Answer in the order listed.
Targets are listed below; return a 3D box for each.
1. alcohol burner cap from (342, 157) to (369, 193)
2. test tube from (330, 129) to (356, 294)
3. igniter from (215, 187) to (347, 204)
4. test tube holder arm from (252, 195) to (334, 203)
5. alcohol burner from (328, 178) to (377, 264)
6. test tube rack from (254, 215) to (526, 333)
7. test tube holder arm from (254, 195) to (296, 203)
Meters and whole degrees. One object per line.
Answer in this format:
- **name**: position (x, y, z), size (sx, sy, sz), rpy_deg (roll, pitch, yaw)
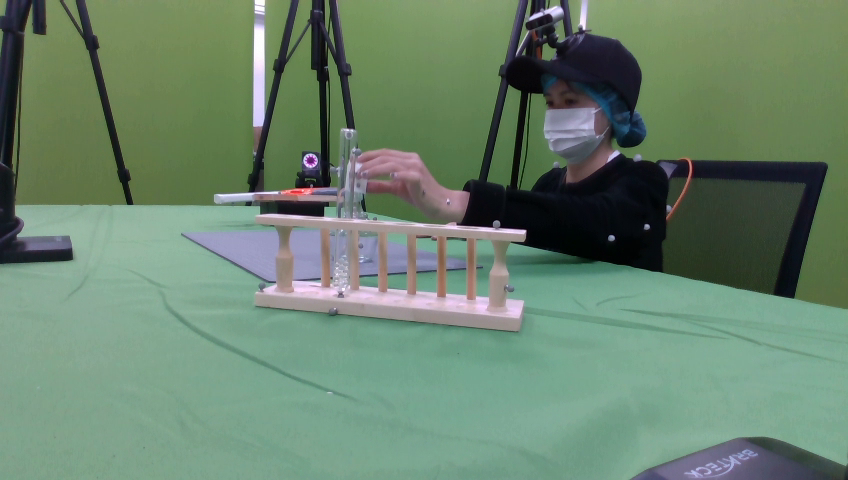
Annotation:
- **alcohol burner cap**: position (-0.090, -0.088, 0.814), size (0.034, 0.048, 0.034), rpy_deg (11, 3, 0)
- **test tube**: position (-0.074, -0.025, 0.548), size (0.017, 0.150, 0.017), rpy_deg (4, 6, 0)
- **igniter**: position (-0.289, -0.093, 1.255), size (0.278, 0.025, 0.057), rpy_deg (-6, 11, -34)
- **test tube holder arm**: position (-0.262, -0.084, 1.228), size (0.179, 0.015, 0.013), rpy_deg (-5, 11, -40)
- **alcohol burner**: position (-0.098, -0.028, 0.819), size (0.078, 0.119, 0.078), rpy_deg (1, 8, 0)
- **test tube rack**: position (-0.030, 0.025, 0.558), size (0.242, 0.085, 0.067), rpy_deg (4, 7, 12)
- **test tube holder arm**: position (-0.294, -0.081, 1.195), size (0.088, 0.015, 0.010), rpy_deg (-4, 11, -38)
